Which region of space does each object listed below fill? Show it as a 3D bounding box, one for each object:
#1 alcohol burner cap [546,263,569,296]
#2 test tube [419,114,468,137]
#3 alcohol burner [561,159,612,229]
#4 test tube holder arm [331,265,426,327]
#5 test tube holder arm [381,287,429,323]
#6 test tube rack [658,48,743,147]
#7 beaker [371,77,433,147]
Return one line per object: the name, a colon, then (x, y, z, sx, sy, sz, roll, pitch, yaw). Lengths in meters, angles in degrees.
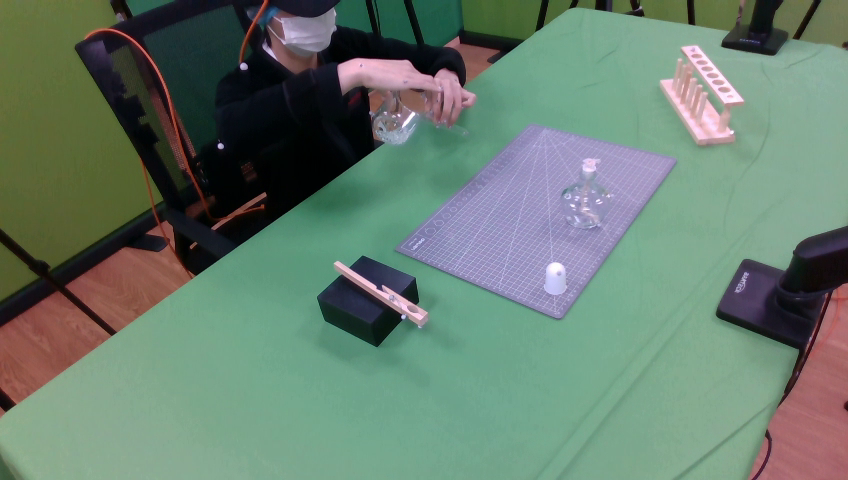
alcohol burner cap: (0.191, 0.053, 0.862, 0.034, 0.048, 0.033, -5, 40, 4)
test tube: (0.040, -0.210, 1.117, 0.017, 0.017, 0.151, 24, 11, 33)
alcohol burner: (0.257, -0.077, 0.951, 0.078, 0.119, 0.077, -3, 40, 3)
test tube holder arm: (-0.066, 0.074, 0.828, 0.177, 0.015, 0.013, 25, 42, 33)
test tube holder arm: (-0.028, 0.087, 0.807, 0.087, 0.015, 0.010, 25, 42, 33)
test tube rack: (0.532, -0.284, 1.181, 0.067, 0.085, 0.241, -5, 40, 4)
beaker: (-0.037, -0.208, 1.007, 0.073, 0.084, 0.100, 0, 45, 36)
